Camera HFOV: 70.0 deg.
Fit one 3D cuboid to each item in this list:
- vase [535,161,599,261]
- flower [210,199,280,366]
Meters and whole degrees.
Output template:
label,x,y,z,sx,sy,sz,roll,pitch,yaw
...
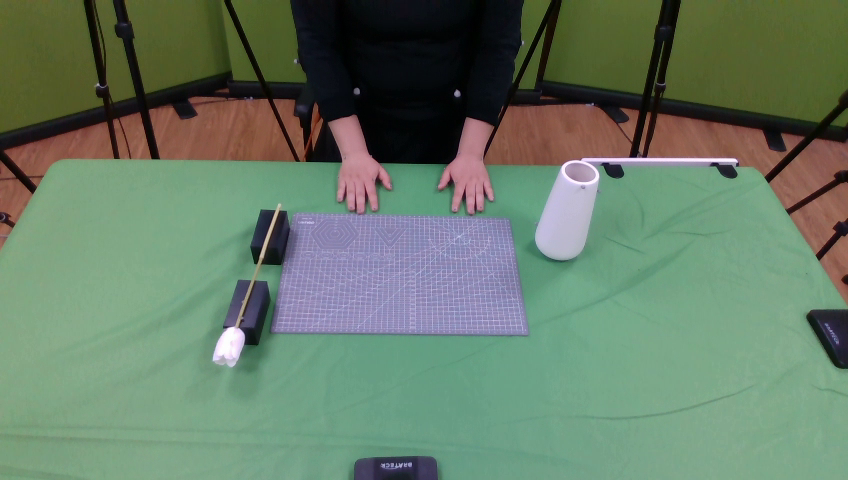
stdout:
label,x,y,z,sx,sy,sz,roll,pitch,yaw
vase,0.271,-0.051,1.145,0.098,0.201,0.097,1,46,-1
flower,-0.298,0.056,1.054,0.044,0.038,0.359,-16,44,24
